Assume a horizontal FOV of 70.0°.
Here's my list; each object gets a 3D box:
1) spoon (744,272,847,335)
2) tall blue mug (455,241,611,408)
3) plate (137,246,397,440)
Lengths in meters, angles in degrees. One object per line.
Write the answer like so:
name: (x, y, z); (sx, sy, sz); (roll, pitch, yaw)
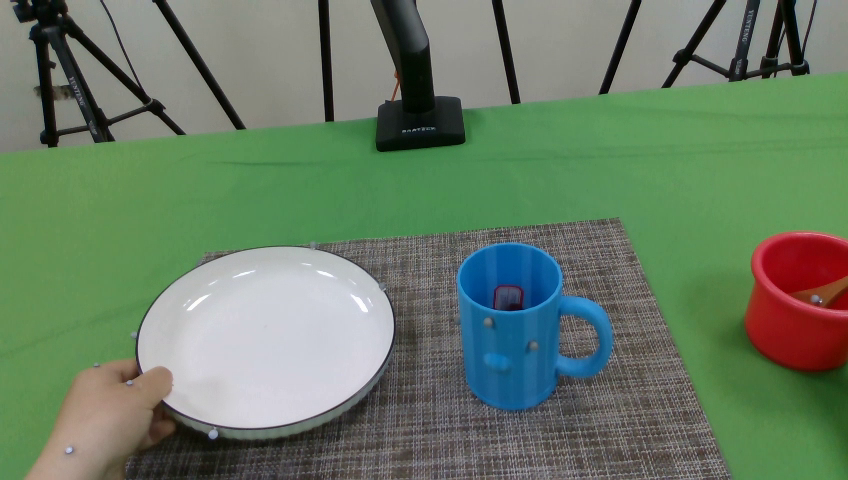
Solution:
spoon: (0.330, 0.024, 0.447); (0.022, 0.194, 0.041); (33, 44, -15)
tall blue mug: (0.081, 0.064, 0.467); (0.107, 0.109, 0.077); (-9, 38, -2)
plate: (-0.127, 0.083, 0.514); (0.208, 0.039, 0.205); (4, 38, -3)
